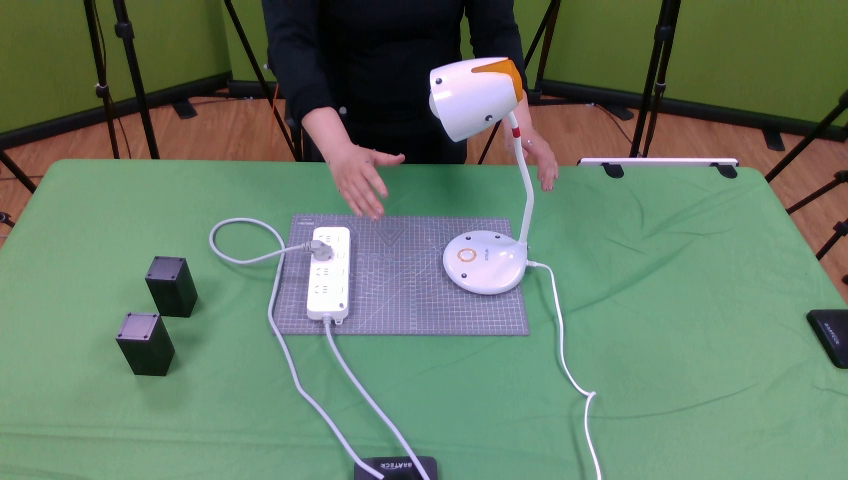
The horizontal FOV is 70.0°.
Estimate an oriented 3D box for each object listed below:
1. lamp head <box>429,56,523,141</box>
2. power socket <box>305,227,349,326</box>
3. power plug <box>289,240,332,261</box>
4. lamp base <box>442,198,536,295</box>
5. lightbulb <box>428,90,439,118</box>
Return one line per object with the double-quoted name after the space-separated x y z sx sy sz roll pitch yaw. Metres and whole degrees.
0.082 -0.212 0.882 0.123 0.113 0.111 -13 44 14 "lamp head"
-0.177 0.058 1.115 0.072 0.033 0.225 -1 46 -4 "power socket"
-0.207 0.022 1.123 0.072 0.053 0.035 6 44 6 "power plug"
0.131 -0.013 1.106 0.179 0.181 0.159 0 46 -8 "lamp base"
0.057 -0.213 0.888 0.107 0.060 0.059 -12 41 23 "lightbulb"
